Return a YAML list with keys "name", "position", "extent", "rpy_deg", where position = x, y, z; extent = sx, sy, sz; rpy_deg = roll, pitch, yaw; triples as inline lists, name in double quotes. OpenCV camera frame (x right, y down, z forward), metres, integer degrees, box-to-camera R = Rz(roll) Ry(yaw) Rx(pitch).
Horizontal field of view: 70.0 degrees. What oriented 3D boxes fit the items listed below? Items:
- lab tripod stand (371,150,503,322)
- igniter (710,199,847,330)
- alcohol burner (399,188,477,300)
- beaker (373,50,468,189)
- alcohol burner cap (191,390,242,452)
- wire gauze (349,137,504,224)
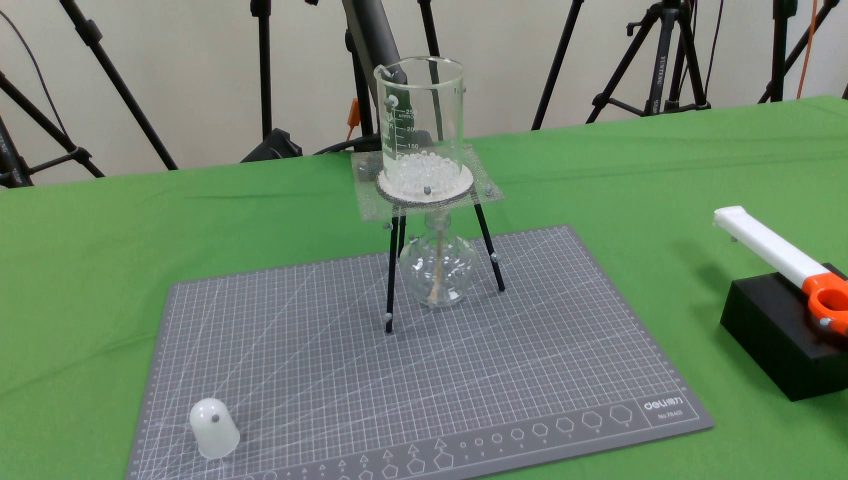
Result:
- name: "lab tripod stand"
  position: [0.005, -0.010, 0.583]
  extent: [0.148, 0.132, 0.147]
  rpy_deg: [-1, 34, 1]
- name: "igniter"
  position: [0.337, 0.036, 0.511]
  extent: [0.057, 0.025, 0.273]
  rpy_deg: [-10, 33, -8]
- name: "alcohol burner"
  position: [0.013, 0.000, 0.585]
  extent: [0.078, 0.120, 0.077]
  rpy_deg: [-1, 37, 1]
- name: "beaker"
  position: [-0.005, -0.101, 0.514]
  extent: [0.083, 0.101, 0.074]
  rpy_deg: [29, 45, 36]
- name: "alcohol burner cap"
  position: [-0.162, 0.136, 0.468]
  extent: [0.034, 0.048, 0.033]
  rpy_deg: [-1, 36, 1]
- name: "wire gauze"
  position: [-0.002, -0.061, 0.541]
  extent: [0.121, 0.011, 0.123]
  rpy_deg: [-9, 38, -7]
